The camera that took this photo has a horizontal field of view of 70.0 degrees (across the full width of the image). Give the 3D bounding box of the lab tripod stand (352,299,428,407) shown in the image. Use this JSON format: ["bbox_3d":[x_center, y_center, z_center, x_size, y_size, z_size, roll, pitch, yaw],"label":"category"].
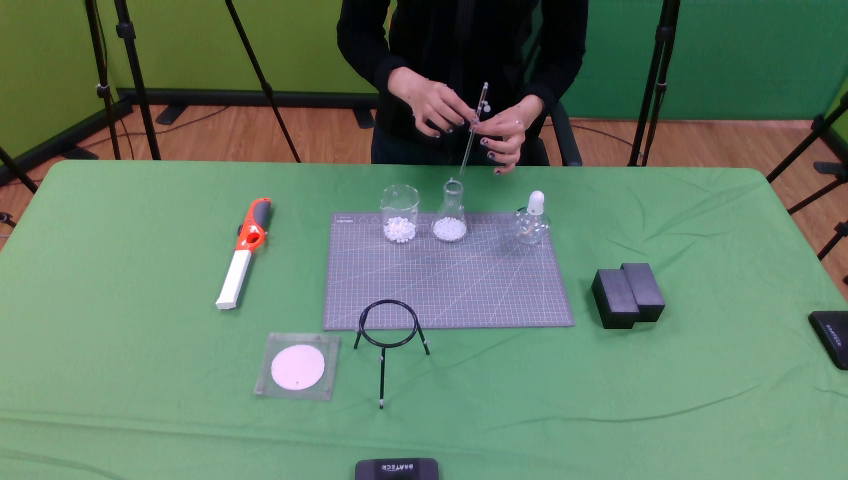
[{"bbox_3d":[-0.056,0.166,0.958,0.148,0.132,0.147,3,44,-2],"label":"lab tripod stand"}]

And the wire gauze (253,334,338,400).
[{"bbox_3d":[-0.209,0.204,0.996,0.125,0.011,0.120,3,45,1],"label":"wire gauze"}]

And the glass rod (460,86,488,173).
[{"bbox_3d":[0.086,-0.188,1.063,0.008,0.200,0.008,6,52,-7],"label":"glass rod"}]

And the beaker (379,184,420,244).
[{"bbox_3d":[-0.050,-0.047,1.184,0.084,0.101,0.073,-27,53,-26],"label":"beaker"}]

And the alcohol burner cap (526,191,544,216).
[{"bbox_3d":[0.216,-0.073,1.170,0.034,0.048,0.033,0,42,1],"label":"alcohol burner cap"}]

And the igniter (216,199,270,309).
[{"bbox_3d":[-0.341,0.016,1.153,0.057,0.025,0.275,-3,45,7],"label":"igniter"}]

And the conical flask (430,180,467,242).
[{"bbox_3d":[0.052,-0.060,1.188,0.075,0.122,0.075,2,46,-2],"label":"conical flask"}]

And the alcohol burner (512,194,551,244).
[{"bbox_3d":[0.215,-0.048,1.196,0.078,0.119,0.077,4,46,-4],"label":"alcohol burner"}]
